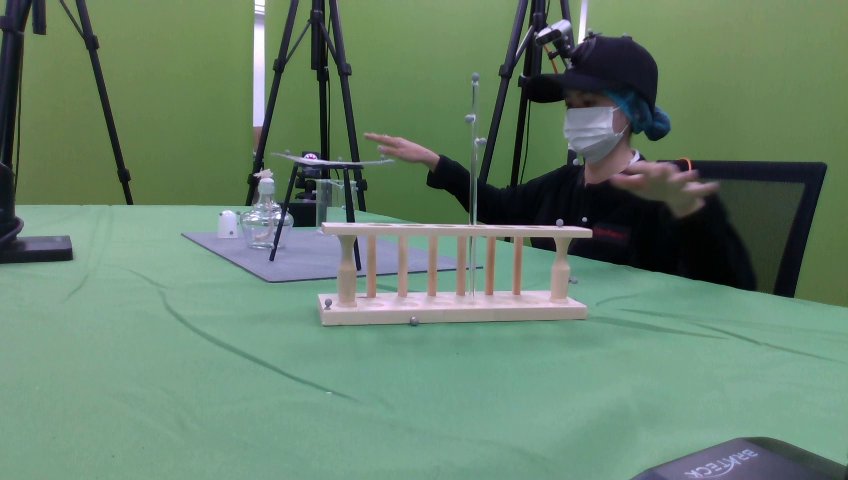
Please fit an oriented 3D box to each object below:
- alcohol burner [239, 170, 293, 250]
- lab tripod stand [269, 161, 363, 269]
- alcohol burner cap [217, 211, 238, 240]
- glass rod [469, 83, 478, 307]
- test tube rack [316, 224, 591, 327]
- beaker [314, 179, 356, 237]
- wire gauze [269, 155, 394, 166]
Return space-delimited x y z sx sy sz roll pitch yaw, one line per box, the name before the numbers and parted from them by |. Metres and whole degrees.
alcohol burner | -0.237 -0.045 0.904 0.078 0.119 0.078 1 8 0
lab tripod stand | -0.125 -0.036 0.794 0.148 0.131 0.148 5 7 0
alcohol burner cap | -0.323 -0.024 0.994 0.034 0.048 0.034 3 8 0
glass rod | 0.043 -0.033 0.523 0.008 0.199 0.008 -1 14 1
test tube rack | 0.026 0.028 0.555 0.243 0.085 0.066 1 7 -14
beaker | -0.162 -0.058 1.094 0.074 0.100 0.083 0 9 -21
wire gauze | -0.121 -0.102 0.785 0.122 0.011 0.124 -3 10 -39
